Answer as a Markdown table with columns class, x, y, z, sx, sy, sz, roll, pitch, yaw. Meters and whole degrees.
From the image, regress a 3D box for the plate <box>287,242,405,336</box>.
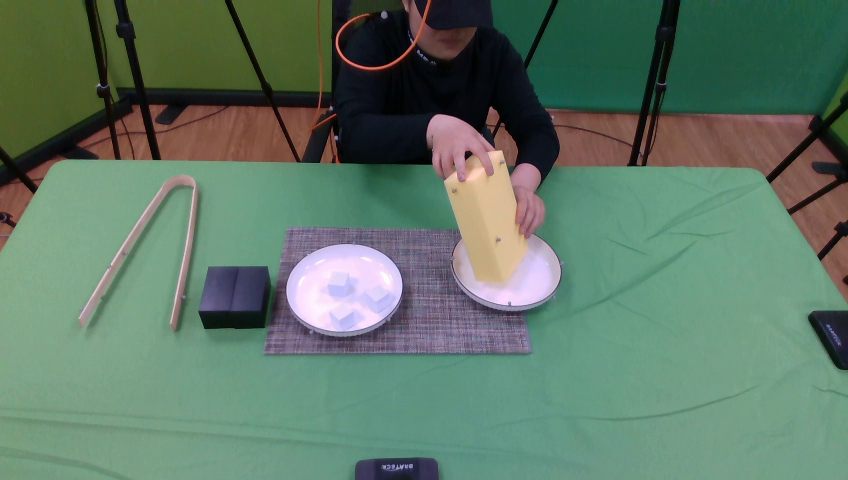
| class | x | y | z | sx | sy | sz | roll | pitch | yaw |
| --- | --- | --- | --- | --- | --- | --- | --- | --- | --- |
| plate | -0.138 | 0.090 | 1.084 | 0.208 | 0.039 | 0.206 | 2 | 46 | -2 |

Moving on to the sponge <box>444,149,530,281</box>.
| class | x | y | z | sx | sy | sz | roll | pitch | yaw |
| --- | --- | --- | --- | --- | --- | --- | --- | --- | --- |
| sponge | 0.117 | -0.042 | 1.074 | 0.060 | 0.208 | 0.118 | 0 | 33 | 35 |

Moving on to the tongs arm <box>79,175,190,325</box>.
| class | x | y | z | sx | sy | sz | roll | pitch | yaw |
| --- | --- | --- | --- | --- | --- | --- | --- | --- | --- |
| tongs arm | -0.534 | 0.005 | 1.145 | 0.051 | 0.026 | 0.382 | 6 | 45 | 0 |

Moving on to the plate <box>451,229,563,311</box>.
| class | x | y | z | sx | sy | sz | roll | pitch | yaw |
| --- | --- | --- | --- | --- | --- | --- | --- | --- | --- |
| plate | 0.154 | 0.053 | 1.140 | 0.209 | 0.038 | 0.208 | 2 | 47 | -2 |

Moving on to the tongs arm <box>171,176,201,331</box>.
| class | x | y | z | sx | sy | sz | roll | pitch | yaw |
| --- | --- | --- | --- | --- | --- | --- | --- | --- | --- |
| tongs arm | -0.453 | 0.010 | 1.151 | 0.028 | 0.028 | 0.385 | -6 | 47 | -6 |
